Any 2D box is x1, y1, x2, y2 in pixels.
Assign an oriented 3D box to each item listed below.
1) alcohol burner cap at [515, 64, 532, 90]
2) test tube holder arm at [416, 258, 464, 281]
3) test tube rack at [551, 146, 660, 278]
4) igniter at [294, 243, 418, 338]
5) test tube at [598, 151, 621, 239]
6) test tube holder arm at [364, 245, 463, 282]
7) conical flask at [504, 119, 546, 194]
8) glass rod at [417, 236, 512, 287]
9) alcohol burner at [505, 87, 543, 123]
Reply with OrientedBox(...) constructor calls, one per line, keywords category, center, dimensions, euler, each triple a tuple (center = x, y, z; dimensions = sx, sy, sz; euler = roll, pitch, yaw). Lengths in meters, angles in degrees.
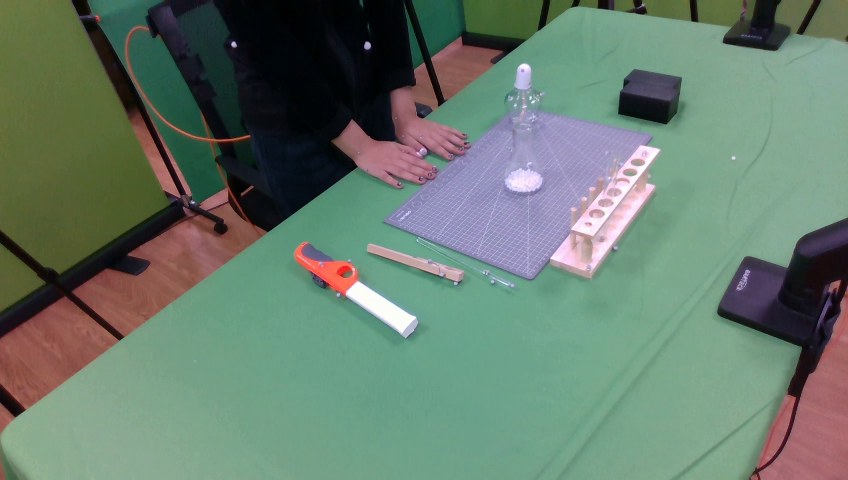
OrientedBox(category="alcohol burner cap", center=(0.199, -0.324, 1.198), dimensions=(0.034, 0.048, 0.033), euler=(0, 45, 1))
OrientedBox(category="test tube holder arm", center=(0.022, 0.045, 0.931), dimensions=(0.087, 0.015, 0.010), euler=(16, 9, 27))
OrientedBox(category="test tube rack", center=(0.286, -0.053, 0.944), dimensions=(0.066, 0.085, 0.243), euler=(21, 49, 32))
OrientedBox(category="igniter", center=(-0.114, 0.070, 0.919), dimensions=(0.274, 0.025, 0.057), euler=(29, 63, 37))
OrientedBox(category="test tube", center=(0.269, -0.062, 0.880), dimensions=(0.017, 0.151, 0.017), euler=(-3, 39, 3))
OrientedBox(category="test tube holder arm", center=(-0.020, 0.035, 0.947), dimensions=(0.177, 0.015, 0.013), euler=(16, 9, 26))
OrientedBox(category="conical flask", center=(0.172, -0.146, 1.041), dimensions=(0.075, 0.122, 0.075), euler=(-6, 40, 5))
OrientedBox(category="glass rod", center=(0.059, 0.032, 0.945), dimensions=(0.198, 0.008, 0.008), euler=(27, 52, 38))
OrientedBox(category="alcohol burner", center=(0.202, -0.297, 1.222), dimensions=(0.078, 0.119, 0.077), euler=(-4, 40, 4))
